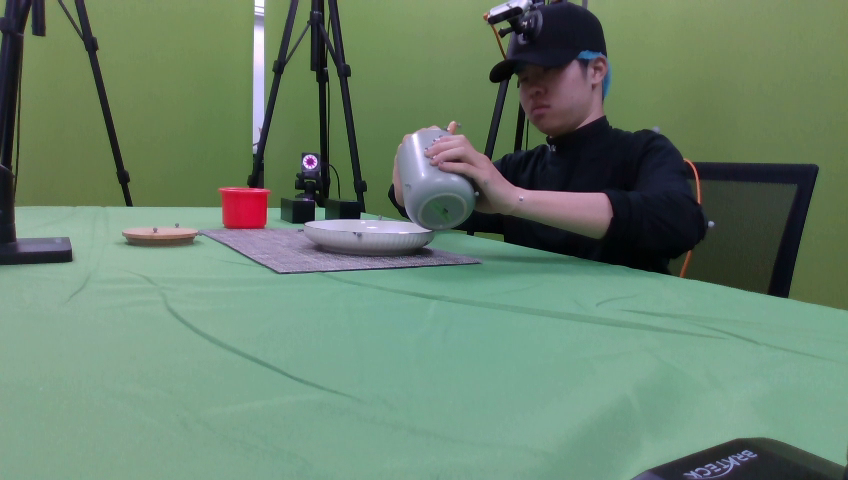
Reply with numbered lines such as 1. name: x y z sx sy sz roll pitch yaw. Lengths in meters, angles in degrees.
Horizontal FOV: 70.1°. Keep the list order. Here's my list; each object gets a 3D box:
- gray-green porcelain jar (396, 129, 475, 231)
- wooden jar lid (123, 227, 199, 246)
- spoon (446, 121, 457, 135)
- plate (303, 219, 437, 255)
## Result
1. gray-green porcelain jar: 0.016 -0.085 0.899 0.106 0.106 0.126 1 47 -14
2. wooden jar lid: -0.408 -0.006 0.942 0.108 0.020 0.108 3 6 0
3. spoon: 0.021 -0.131 0.920 0.041 0.021 0.194 11 39 11
4. plate: -0.084 -0.005 0.952 0.208 0.039 0.207 3 7 0
